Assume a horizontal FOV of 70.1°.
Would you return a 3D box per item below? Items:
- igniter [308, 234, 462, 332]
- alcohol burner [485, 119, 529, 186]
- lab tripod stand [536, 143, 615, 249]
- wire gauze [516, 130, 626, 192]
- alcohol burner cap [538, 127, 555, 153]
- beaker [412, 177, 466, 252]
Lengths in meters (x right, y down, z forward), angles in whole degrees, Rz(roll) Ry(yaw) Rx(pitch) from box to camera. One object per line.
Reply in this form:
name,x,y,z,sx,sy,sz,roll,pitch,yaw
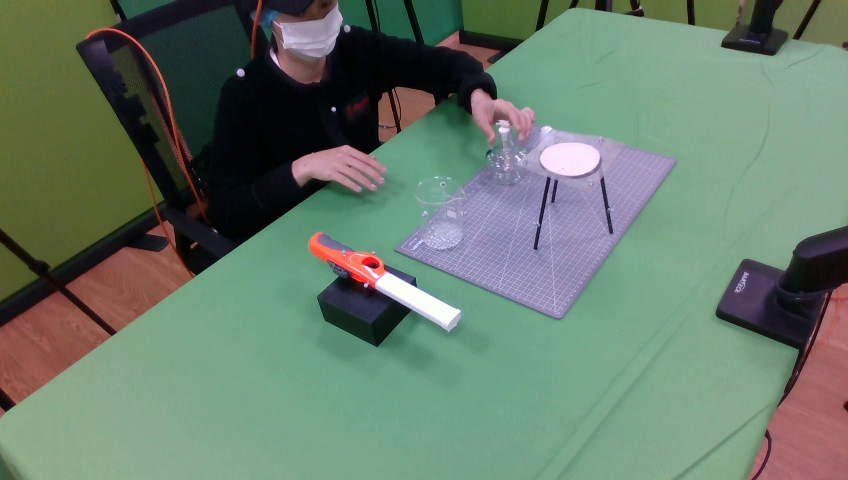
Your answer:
igniter,-0.066,0.054,0.846,0.274,0.025,0.057,26,49,29
alcohol burner,0.145,-0.157,1.064,0.078,0.119,0.077,-6,39,6
lab tripod stand,0.224,-0.069,0.931,0.148,0.132,0.147,-4,42,4
wire gauze,0.216,-0.124,0.892,0.124,0.011,0.122,22,49,31
alcohol burner cap,0.234,-0.191,1.147,0.034,0.048,0.033,-5,39,5
beaker,0.029,-0.038,0.952,0.083,0.101,0.074,9,43,18
